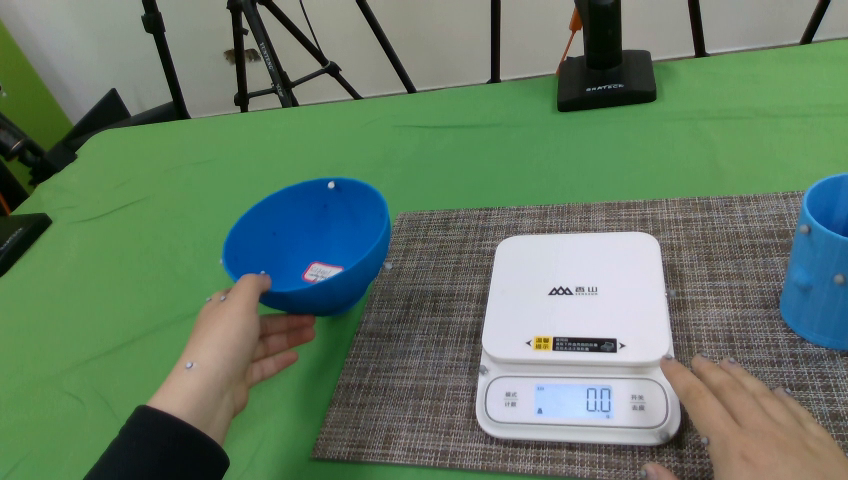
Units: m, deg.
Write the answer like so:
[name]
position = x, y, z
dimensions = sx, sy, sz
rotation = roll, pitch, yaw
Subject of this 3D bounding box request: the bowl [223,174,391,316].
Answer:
[bowl]
position = -0.095, 0.016, 0.553
dimensions = 0.151, 0.077, 0.150
rotation = -8, 42, 8

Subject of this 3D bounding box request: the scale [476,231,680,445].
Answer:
[scale]
position = 0.125, 0.070, 0.502
dimensions = 0.148, 0.032, 0.199
rotation = -3, 43, 17

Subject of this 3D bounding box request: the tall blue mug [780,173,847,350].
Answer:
[tall blue mug]
position = 0.317, 0.024, 0.426
dimensions = 0.078, 0.109, 0.106
rotation = -36, 43, -21
